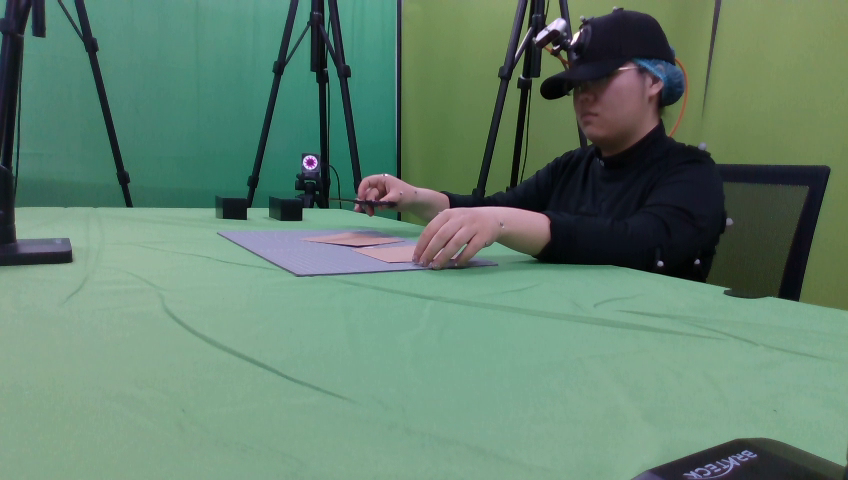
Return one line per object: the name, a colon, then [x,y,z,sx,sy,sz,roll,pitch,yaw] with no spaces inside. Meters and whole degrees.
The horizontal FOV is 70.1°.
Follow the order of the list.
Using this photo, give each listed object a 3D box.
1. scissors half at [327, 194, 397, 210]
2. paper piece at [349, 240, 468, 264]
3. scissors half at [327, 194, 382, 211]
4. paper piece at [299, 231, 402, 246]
scissors half: [-0.111,-0.072,1.115,0.040,0.013,0.176,-11,-11,39]
paper piece: [-0.025,0.019,0.916,0.137,0.008,0.137,-7,13,-30]
scissors half: [-0.129,-0.071,1.125,0.040,0.013,0.176,-2,-6,23]
paper piece: [-0.127,-0.003,1.052,0.135,0.004,0.136,7,8,33]
